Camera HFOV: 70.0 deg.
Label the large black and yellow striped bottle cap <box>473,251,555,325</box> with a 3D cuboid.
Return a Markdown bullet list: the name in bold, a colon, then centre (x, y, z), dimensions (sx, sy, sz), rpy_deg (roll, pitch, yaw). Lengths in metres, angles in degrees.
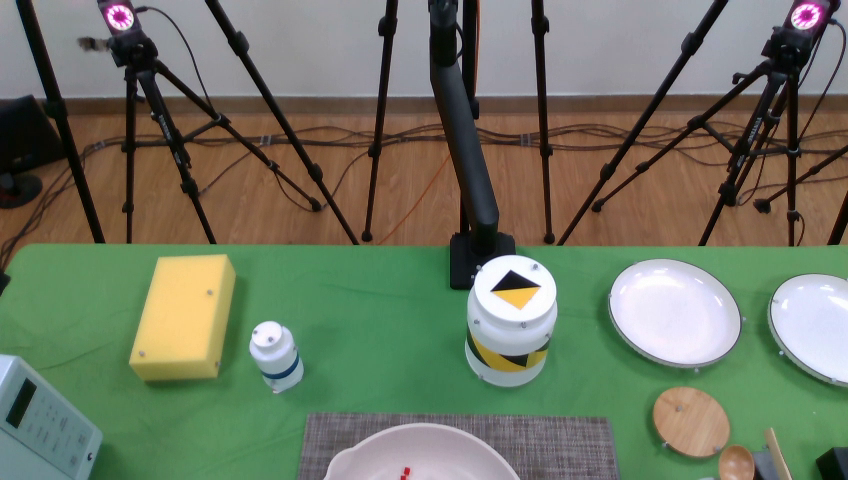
- **large black and yellow striped bottle cap**: centre (0.125, 0.064, 0.844), dimensions (0.115, 0.019, 0.114), rpy_deg (-1, 53, 1)

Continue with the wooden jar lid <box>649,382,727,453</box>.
- **wooden jar lid**: centre (0.387, 0.262, 0.894), dimensions (0.108, 0.021, 0.107), rpy_deg (-1, 53, 1)

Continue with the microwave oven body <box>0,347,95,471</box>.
- **microwave oven body**: centre (-0.639, 0.365, 0.673), dimensions (0.326, 0.262, 0.437), rpy_deg (1, 52, 2)

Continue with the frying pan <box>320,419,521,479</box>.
- **frying pan**: centre (-0.075, 0.428, 0.712), dimensions (0.304, 0.103, 0.487), rpy_deg (35, 52, 27)

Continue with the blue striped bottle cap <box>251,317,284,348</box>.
- **blue striped bottle cap**: centre (-0.227, 0.133, 0.879), dimensions (0.044, 0.021, 0.044), rpy_deg (-1, 53, 1)

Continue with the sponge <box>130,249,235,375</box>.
- **sponge**: centre (-0.393, 0.116, 1.000), dimensions (0.118, 0.061, 0.204), rpy_deg (-3, 52, -2)

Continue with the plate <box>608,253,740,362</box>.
- **plate**: centre (0.407, 0.113, 1.002), dimensions (0.208, 0.039, 0.205), rpy_deg (-1, 51, 1)

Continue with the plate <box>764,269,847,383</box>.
- **plate**: centre (0.655, 0.139, 0.974), dimensions (0.209, 0.038, 0.207), rpy_deg (-1, 51, 1)

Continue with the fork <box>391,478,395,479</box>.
- **fork**: centre (-0.098, 0.371, 0.770), dimensions (0.028, 0.019, 0.208), rpy_deg (41, 37, 21)

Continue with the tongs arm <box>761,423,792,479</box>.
- **tongs arm**: centre (0.494, 0.410, 0.717), dimensions (0.051, 0.027, 0.381), rpy_deg (-4, 63, -6)

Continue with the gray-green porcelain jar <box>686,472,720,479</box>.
- **gray-green porcelain jar**: centre (0.345, 0.360, 0.748), dimensions (0.106, 0.127, 0.105), rpy_deg (0, 51, 1)

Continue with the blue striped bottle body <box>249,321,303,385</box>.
- **blue striped bottle body**: centre (-0.225, 0.166, 0.918), dimensions (0.063, 0.122, 0.062), rpy_deg (-1, 51, 1)

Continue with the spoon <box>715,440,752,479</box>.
- **spoon**: centre (0.348, 0.323, 0.687), dimensions (0.041, 0.022, 0.192), rpy_deg (16, 57, 9)

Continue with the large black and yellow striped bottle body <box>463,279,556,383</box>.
- **large black and yellow striped bottle body**: centre (0.126, 0.118, 0.910), dimensions (0.131, 0.185, 0.129), rpy_deg (-1, 51, 1)

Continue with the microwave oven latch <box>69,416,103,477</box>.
- **microwave oven latch**: centre (-0.482, 0.290, 0.853), dimensions (0.030, 0.030, 0.078), rpy_deg (4, 52, 4)

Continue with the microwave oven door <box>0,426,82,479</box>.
- **microwave oven door**: centre (-0.495, 0.397, 0.638), dimensions (0.039, 0.246, 0.352), rpy_deg (1, 51, 2)
